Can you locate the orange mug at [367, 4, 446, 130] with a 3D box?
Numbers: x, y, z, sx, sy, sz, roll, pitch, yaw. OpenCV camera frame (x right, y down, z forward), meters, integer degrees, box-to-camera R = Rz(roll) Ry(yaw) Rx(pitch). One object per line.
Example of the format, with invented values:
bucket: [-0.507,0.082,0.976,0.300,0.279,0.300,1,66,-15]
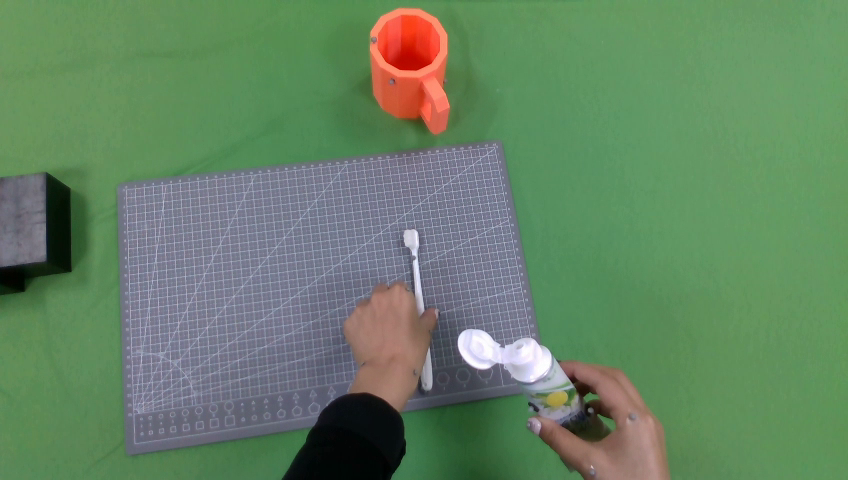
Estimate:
orange mug: [-0.013,-0.193,0.699,0.083,0.101,0.125,-29,74,-10]

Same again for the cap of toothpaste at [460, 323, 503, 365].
cap of toothpaste: [0.044,0.079,0.468,0.037,0.011,0.037,17,49,-21]

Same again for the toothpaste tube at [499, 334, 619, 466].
toothpaste tube: [0.108,0.134,0.500,0.055,0.034,0.167,-29,121,13]

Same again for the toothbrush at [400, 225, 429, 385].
toothbrush: [-0.010,0.069,0.673,0.014,0.017,0.181,-13,76,25]
